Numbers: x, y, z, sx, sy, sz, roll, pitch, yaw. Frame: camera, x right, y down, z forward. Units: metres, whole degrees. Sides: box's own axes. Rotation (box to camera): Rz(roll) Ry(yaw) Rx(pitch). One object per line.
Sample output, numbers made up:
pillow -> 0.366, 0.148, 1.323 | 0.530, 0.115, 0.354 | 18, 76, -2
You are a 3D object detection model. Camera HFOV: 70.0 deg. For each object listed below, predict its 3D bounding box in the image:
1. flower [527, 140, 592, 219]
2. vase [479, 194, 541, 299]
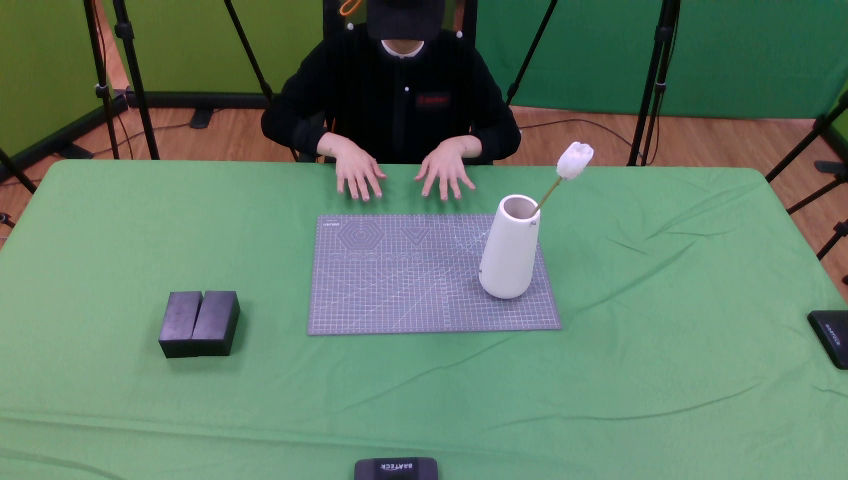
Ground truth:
flower -> 0.173, -0.035, 1.002 | 0.044, 0.363, 0.038 | -20, 66, -29
vase -> 0.152, 0.015, 1.066 | 0.098, 0.201, 0.097 | 1, 47, -1
